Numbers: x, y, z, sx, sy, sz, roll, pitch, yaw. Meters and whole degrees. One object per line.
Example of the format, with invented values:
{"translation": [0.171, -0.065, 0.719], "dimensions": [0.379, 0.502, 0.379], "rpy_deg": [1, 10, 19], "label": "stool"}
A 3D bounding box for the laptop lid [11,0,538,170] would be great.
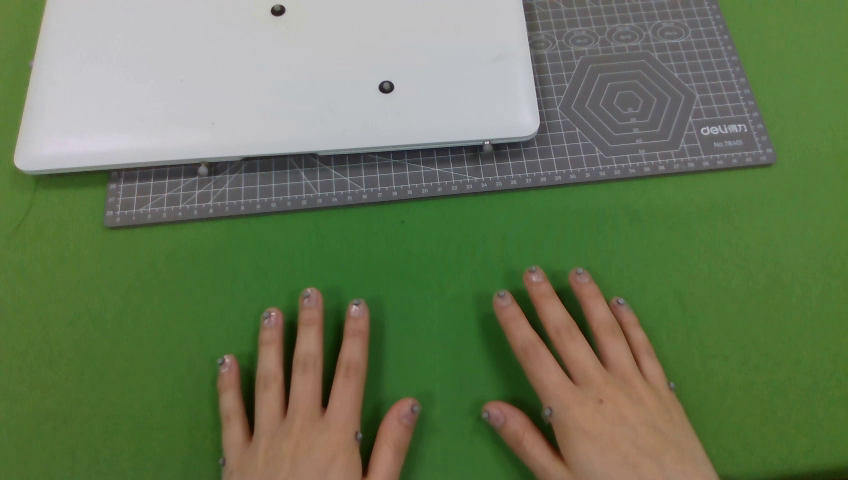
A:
{"translation": [-0.106, -0.166, 0.440], "dimensions": [0.357, 0.013, 0.240], "rpy_deg": [-3, 69, 0], "label": "laptop lid"}

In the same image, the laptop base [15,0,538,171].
{"translation": [-0.106, -0.163, 0.452], "dimensions": [0.354, 0.023, 0.234], "rpy_deg": [-4, 70, -1], "label": "laptop base"}
